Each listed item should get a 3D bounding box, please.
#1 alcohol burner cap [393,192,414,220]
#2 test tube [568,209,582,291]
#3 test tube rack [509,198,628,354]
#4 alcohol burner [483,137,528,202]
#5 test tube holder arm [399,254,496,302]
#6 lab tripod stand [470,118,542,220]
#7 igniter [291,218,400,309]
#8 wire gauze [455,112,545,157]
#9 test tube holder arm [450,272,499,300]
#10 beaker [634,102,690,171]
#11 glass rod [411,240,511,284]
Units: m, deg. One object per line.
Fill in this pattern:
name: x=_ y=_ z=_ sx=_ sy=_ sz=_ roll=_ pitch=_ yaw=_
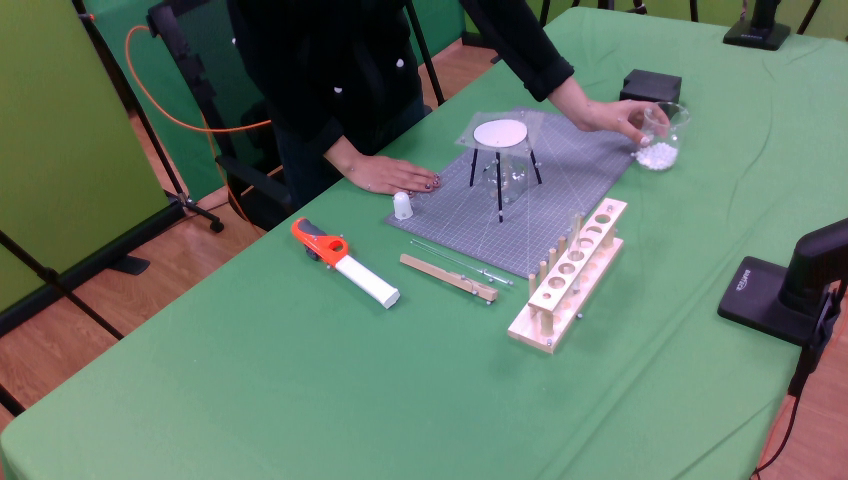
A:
alcohol burner cap: x=-0.038 y=-0.061 z=1.043 sx=0.034 sy=0.048 sz=0.033 roll=-5 pitch=40 yaw=5
test tube: x=0.200 y=0.017 z=0.799 sx=0.017 sy=0.151 sz=0.017 roll=-8 pitch=45 yaw=8
test tube rack: x=0.206 y=0.039 z=0.850 sx=0.066 sy=0.085 sz=0.243 roll=20 pitch=48 yaw=31
alcohol burner: x=0.138 y=-0.125 z=1.030 sx=0.078 sy=0.119 sz=0.077 roll=-4 pitch=41 yaw=4
test tube holder arm: x=0.032 y=0.054 z=0.914 sx=0.177 sy=0.015 sz=0.013 roll=21 pitch=16 yaw=32
lab tripod stand: x=0.135 y=-0.128 z=1.019 sx=0.148 sy=0.132 sz=0.147 roll=-5 pitch=38 yaw=5
igniter: x=-0.136 y=0.031 z=0.970 sx=0.057 sy=0.025 sz=0.274 roll=-41 pitch=49 yaw=-19
wire gauze: x=0.123 y=-0.176 z=0.972 sx=0.124 sy=0.011 sz=0.121 roll=9 pitch=42 yaw=20
test tube holder arm: x=0.071 y=0.068 z=0.894 sx=0.087 sy=0.015 sz=0.010 roll=21 pitch=16 yaw=32
beaker: x=0.411 y=-0.178 z=1.048 sx=0.084 sy=0.100 sz=0.073 roll=-20 pitch=49 yaw=-16
glass rod: x=0.053 y=0.033 z=0.946 sx=0.198 sy=0.008 sz=0.008 roll=22 pitch=50 yaw=36
